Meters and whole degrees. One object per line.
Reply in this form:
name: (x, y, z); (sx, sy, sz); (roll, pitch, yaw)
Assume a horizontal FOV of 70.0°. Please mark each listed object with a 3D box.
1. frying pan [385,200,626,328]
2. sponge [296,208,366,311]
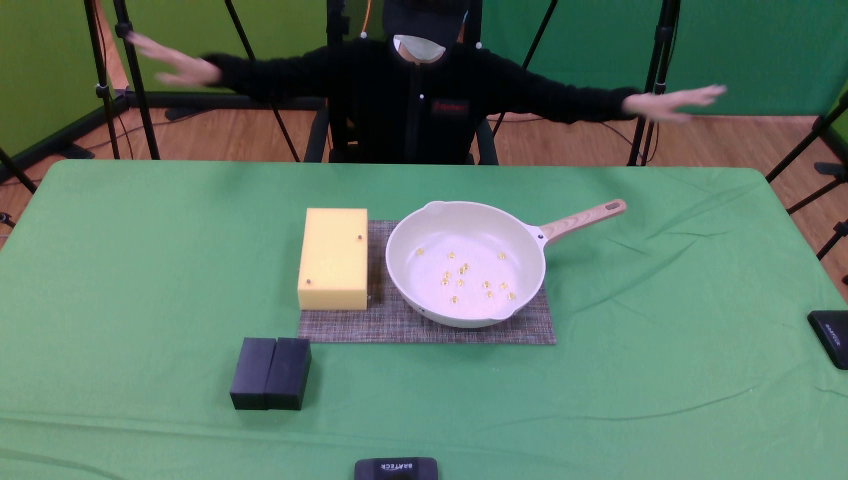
frying pan: (0.169, 0.014, 1.137); (0.488, 0.103, 0.304); (-19, 51, -11)
sponge: (-0.167, 0.033, 1.123); (0.118, 0.061, 0.205); (0, 46, -5)
